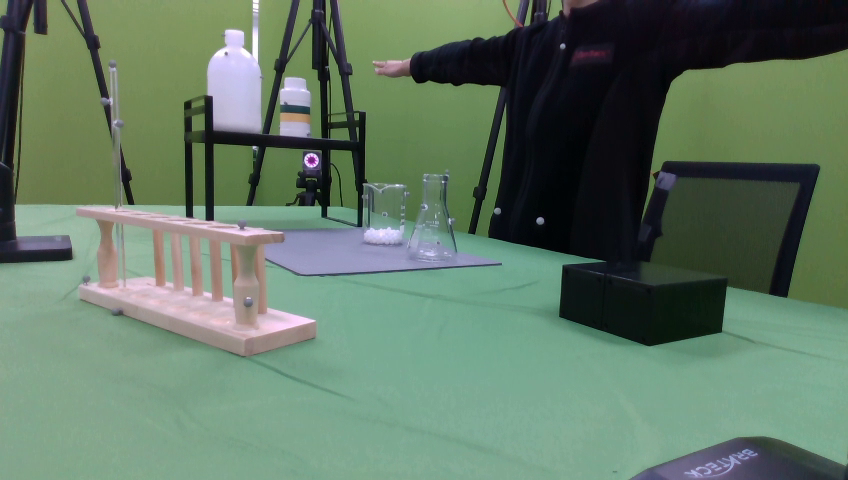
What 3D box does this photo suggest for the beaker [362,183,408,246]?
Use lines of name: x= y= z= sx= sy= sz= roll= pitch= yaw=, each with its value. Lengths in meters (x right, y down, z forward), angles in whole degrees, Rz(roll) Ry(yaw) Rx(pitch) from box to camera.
beaker: x=-0.066 y=-0.043 z=0.996 sx=0.074 sy=0.100 sz=0.084 roll=3 pitch=8 yaw=6

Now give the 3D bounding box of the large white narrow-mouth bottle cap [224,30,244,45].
large white narrow-mouth bottle cap: x=-0.365 y=-0.389 z=1.166 sx=0.038 sy=0.024 sz=0.037 roll=2 pitch=9 yaw=0

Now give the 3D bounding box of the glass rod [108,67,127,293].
glass rod: x=-0.268 y=-0.050 z=0.527 sx=0.008 sy=0.199 sz=0.008 roll=-1 pitch=3 yaw=0

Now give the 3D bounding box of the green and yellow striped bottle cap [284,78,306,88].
green and yellow striped bottle cap: x=-0.268 y=-0.325 z=1.259 sx=0.045 sy=0.020 sz=0.045 roll=5 pitch=8 yaw=0

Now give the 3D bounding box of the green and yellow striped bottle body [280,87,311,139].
green and yellow striped bottle body: x=-0.269 y=-0.274 z=1.266 sx=0.063 sy=0.119 sz=0.063 roll=3 pitch=7 yaw=0

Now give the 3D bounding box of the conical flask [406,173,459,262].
conical flask: x=0.014 y=-0.033 z=0.851 sx=0.075 sy=0.122 sz=0.075 roll=2 pitch=7 yaw=0

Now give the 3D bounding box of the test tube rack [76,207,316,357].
test tube rack: x=-0.196 y=0.023 z=0.500 sx=0.241 sy=0.085 sz=0.067 roll=8 pitch=9 yaw=36

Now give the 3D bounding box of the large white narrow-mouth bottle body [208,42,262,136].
large white narrow-mouth bottle body: x=-0.368 y=-0.304 z=1.181 sx=0.102 sy=0.194 sz=0.101 roll=2 pitch=9 yaw=0
